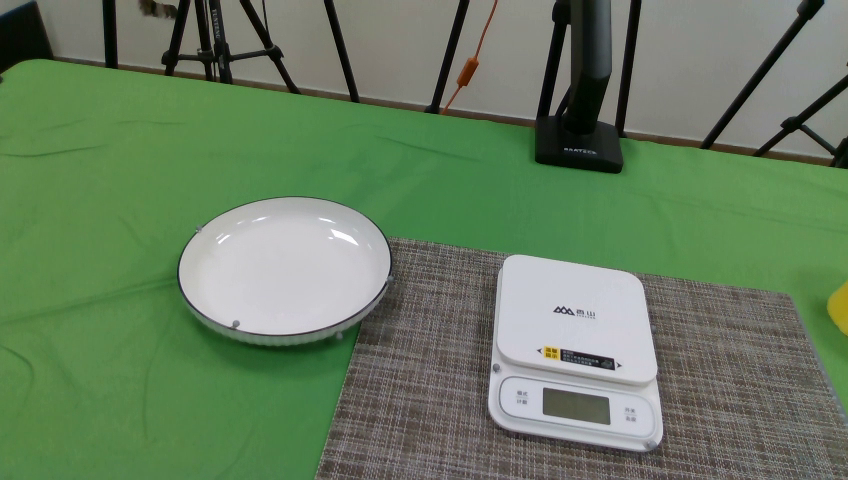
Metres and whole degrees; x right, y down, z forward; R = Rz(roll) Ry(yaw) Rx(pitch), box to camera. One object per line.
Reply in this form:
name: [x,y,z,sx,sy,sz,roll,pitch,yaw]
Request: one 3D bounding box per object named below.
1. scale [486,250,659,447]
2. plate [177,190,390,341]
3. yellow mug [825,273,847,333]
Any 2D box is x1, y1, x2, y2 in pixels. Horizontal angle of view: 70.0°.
scale: [0.138,0.092,0.573,0.148,0.032,0.199,9,41,3]
plate: [-0.139,0.025,0.617,0.209,0.038,0.207,4,41,-3]
yellow mug: [0.496,0.069,0.621,0.100,0.064,0.129,-23,50,-29]
